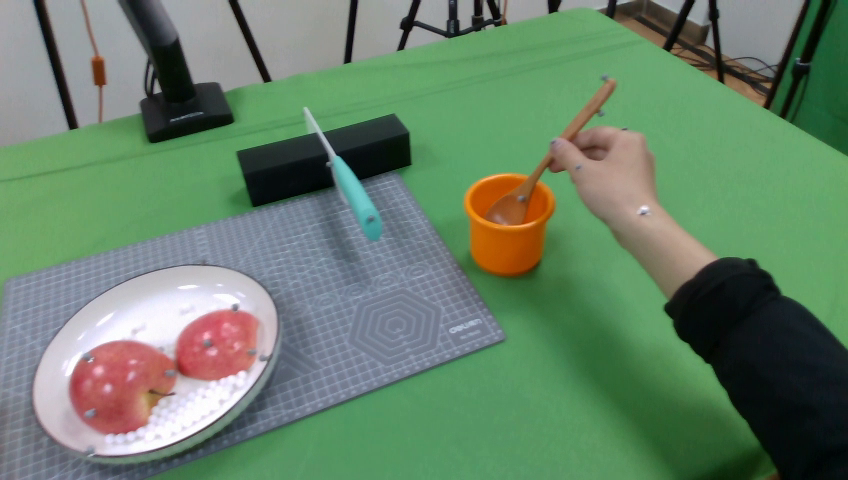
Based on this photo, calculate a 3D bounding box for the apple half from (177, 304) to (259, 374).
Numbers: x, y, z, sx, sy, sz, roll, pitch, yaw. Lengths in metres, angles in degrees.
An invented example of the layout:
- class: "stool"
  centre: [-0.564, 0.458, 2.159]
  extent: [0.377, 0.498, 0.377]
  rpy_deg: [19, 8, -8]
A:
- class: "apple half"
  centre: [-0.190, 0.084, 0.550]
  extent: [0.081, 0.033, 0.080]
  rpy_deg: [-1, 45, 1]

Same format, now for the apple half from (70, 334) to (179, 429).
- class: "apple half"
  centre: [-0.257, 0.111, 0.512]
  extent: [0.074, 0.054, 0.080]
  rpy_deg: [13, 46, 20]

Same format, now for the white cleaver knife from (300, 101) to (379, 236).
- class: "white cleaver knife"
  centre: [-0.104, -0.087, 0.717]
  extent: [0.021, 0.066, 0.283]
  rpy_deg: [-21, 42, -12]

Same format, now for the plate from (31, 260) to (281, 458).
- class: "plate"
  centre: [-0.231, 0.102, 0.543]
  extent: [0.209, 0.038, 0.207]
  rpy_deg: [-1, 43, 2]

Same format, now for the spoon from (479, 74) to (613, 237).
- class: "spoon"
  centre: [0.117, -0.078, 0.590]
  extent: [0.022, 0.194, 0.041]
  rpy_deg: [-5, 48, -50]
